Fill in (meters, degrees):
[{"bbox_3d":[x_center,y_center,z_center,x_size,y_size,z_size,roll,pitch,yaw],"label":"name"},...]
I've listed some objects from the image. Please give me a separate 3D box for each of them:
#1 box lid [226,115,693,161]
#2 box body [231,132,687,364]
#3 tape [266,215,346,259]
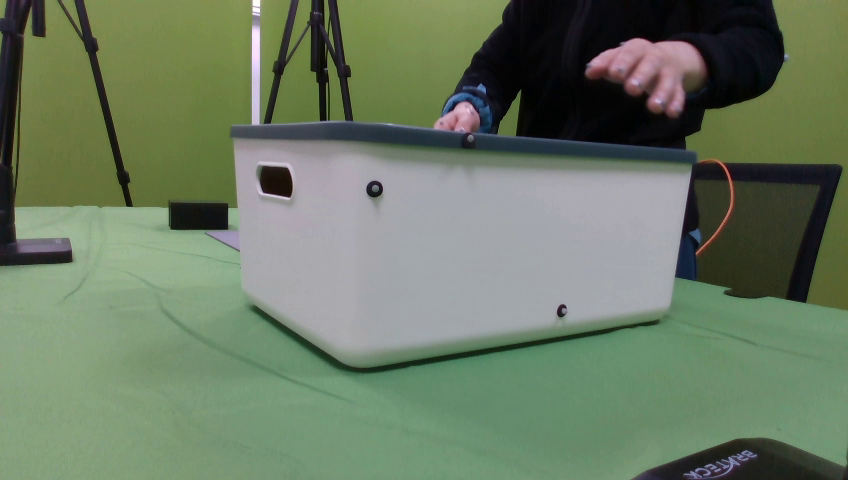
[{"bbox_3d":[0.031,-0.086,0.554,0.373,0.015,0.262,-2,8,-33],"label":"box lid"},{"bbox_3d":[0.031,-0.013,0.563,0.366,0.160,0.253,-3,8,-33],"label":"box body"},{"bbox_3d":[-0.168,-0.006,0.872,0.117,0.052,0.117,3,7,0],"label":"tape"}]
